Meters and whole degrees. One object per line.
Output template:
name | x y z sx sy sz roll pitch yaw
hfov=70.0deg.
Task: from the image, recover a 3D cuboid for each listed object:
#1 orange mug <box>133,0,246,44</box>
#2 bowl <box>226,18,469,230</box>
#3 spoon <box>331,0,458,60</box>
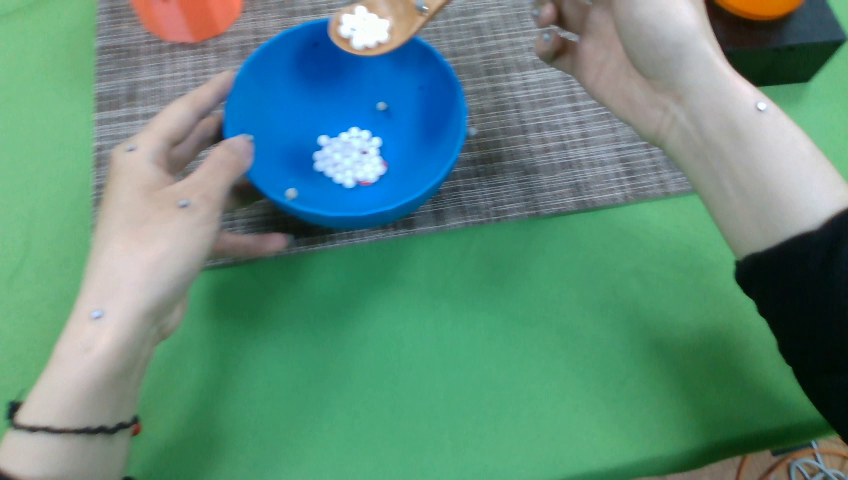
orange mug | -0.190 -0.232 0.466 0.083 0.101 0.125 2 70 -1
bowl | -0.048 -0.065 0.410 0.151 0.077 0.150 1 66 -2
spoon | 0.036 -0.150 0.353 0.193 0.022 0.041 -19 67 12
